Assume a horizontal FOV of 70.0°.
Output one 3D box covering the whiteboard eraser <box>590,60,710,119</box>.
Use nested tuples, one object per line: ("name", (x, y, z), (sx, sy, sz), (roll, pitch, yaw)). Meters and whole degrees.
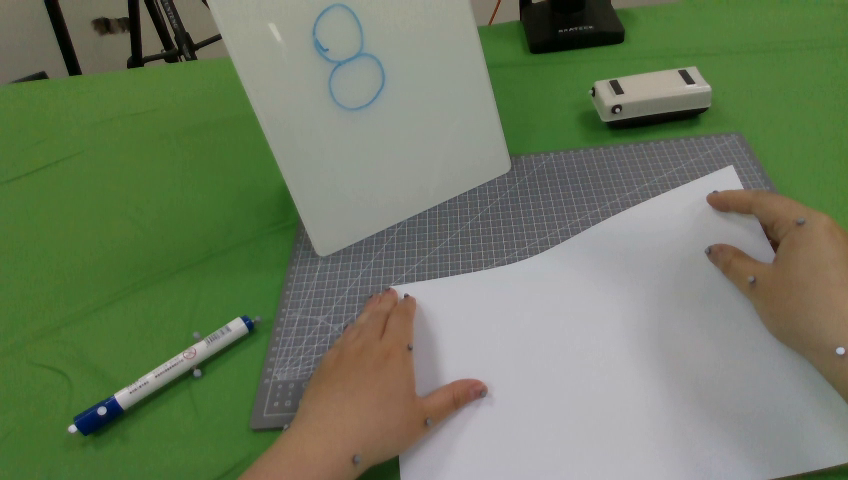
("whiteboard eraser", (0.238, -0.158, 0.644), (0.112, 0.042, 0.055), (-7, 47, 2))

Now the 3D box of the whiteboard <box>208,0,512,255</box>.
("whiteboard", (-0.074, -0.182, 0.579), (0.217, 0.308, 0.142), (-25, 26, -14))

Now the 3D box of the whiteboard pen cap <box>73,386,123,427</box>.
("whiteboard pen cap", (-0.246, 0.125, 0.459), (0.033, 0.018, 0.018), (-35, 50, -24))

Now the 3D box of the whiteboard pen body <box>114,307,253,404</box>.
("whiteboard pen body", (-0.200, 0.096, 0.482), (0.141, 0.017, 0.017), (-34, 49, -23))
